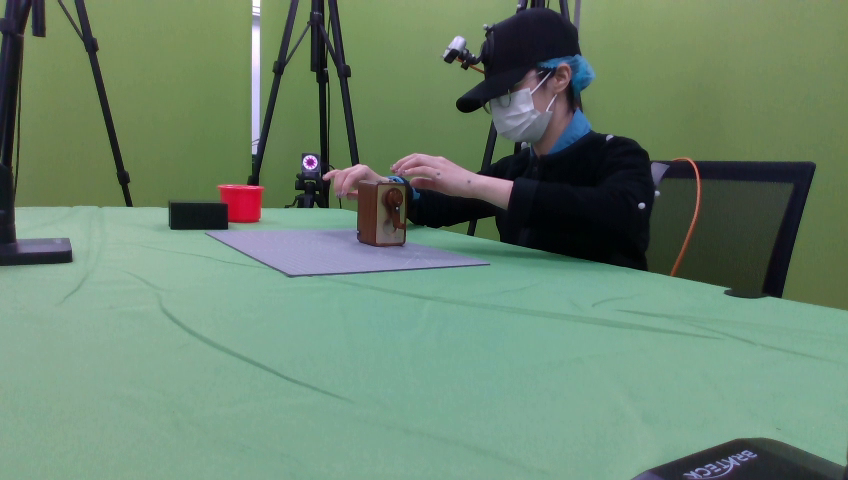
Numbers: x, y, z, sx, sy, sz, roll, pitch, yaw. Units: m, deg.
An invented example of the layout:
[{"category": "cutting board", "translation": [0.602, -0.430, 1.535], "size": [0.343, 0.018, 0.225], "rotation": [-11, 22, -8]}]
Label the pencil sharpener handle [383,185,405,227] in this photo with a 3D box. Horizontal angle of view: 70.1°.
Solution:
[{"category": "pencil sharpener handle", "translation": [-0.042, -0.054, 0.975], "size": [0.036, 0.067, 0.030], "rotation": [-9, 13, -31]}]

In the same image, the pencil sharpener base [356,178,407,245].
[{"category": "pencil sharpener base", "translation": [-0.071, -0.049, 1.018], "size": [0.062, 0.107, 0.076], "rotation": [-2, 9, -32]}]

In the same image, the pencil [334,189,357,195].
[{"category": "pencil", "translation": [-0.134, -0.089, 1.132], "size": [0.012, 0.012, 0.193], "rotation": [-2, 6, -27]}]
